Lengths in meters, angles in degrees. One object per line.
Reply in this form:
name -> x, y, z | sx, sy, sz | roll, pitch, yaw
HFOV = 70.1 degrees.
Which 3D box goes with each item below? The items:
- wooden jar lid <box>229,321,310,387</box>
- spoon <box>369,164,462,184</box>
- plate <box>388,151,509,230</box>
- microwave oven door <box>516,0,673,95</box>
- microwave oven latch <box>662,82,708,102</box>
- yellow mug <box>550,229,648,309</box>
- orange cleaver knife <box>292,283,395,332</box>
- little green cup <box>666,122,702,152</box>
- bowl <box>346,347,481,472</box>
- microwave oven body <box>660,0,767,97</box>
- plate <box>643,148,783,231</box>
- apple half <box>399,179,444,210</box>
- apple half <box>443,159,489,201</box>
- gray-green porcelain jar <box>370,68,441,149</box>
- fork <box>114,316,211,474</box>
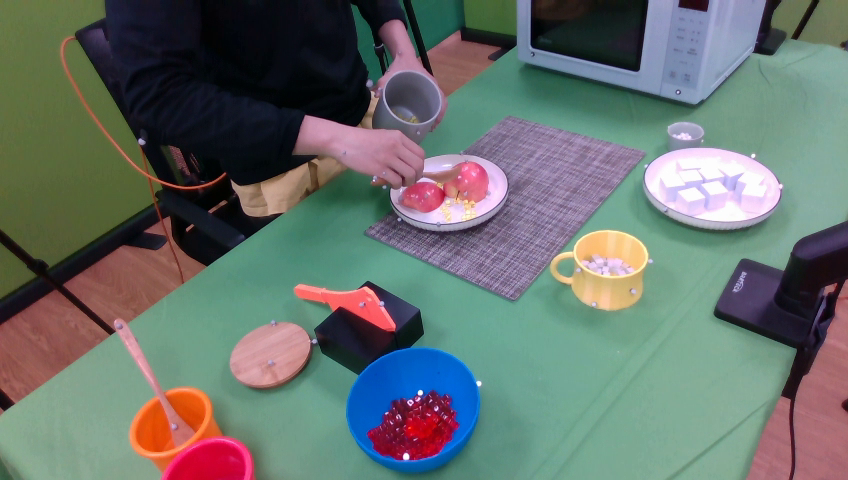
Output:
wooden jar lid -> -0.207, 0.156, 0.820 | 0.108, 0.021, 0.108 | -3, 39, 3
spoon -> -0.010, -0.100, 0.921 | 0.195, 0.041, 0.021 | -9, 73, -43
plate -> 0.043, -0.082, 1.043 | 0.209, 0.038, 0.208 | -4, 40, 4
microwave oven door -> 0.344, -0.458, 1.256 | 0.353, 0.245, 0.039 | 26, 51, 33
microwave oven latch -> 0.518, -0.299, 1.203 | 0.078, 0.029, 0.030 | 29, 53, 36
yellow mug -> 0.245, 0.040, 0.857 | 0.130, 0.064, 0.099 | 1, 42, 11
orange cleaver knife -> -0.115, 0.092, 0.835 | 0.209, 0.077, 0.012 | 1, 32, 48
little green cup -> 0.471, -0.184, 1.102 | 0.061, 0.039, 0.061 | -5, 41, 5
bowl -> -0.008, 0.205, 0.691 | 0.151, 0.077, 0.150 | -4, 40, 4
microwave oven body -> 0.473, -0.516, 1.313 | 0.438, 0.261, 0.327 | 26, 51, 34
plate -> 0.464, -0.080, 0.986 | 0.207, 0.039, 0.206 | -4, 40, 4
apple half -> -0.004, -0.088, 1.045 | 0.081, 0.033, 0.081 | -2, 43, 2
apple half -> 0.074, -0.111, 1.047 | 0.080, 0.053, 0.075 | 20, 46, 30
gray-green porcelain jar -> -0.037, -0.229, 1.084 | 0.106, 0.126, 0.105 | 4, 74, -15
fork -> -0.308, 0.179, 0.708 | 0.028, 0.018, 0.207 | -30, 89, -23
